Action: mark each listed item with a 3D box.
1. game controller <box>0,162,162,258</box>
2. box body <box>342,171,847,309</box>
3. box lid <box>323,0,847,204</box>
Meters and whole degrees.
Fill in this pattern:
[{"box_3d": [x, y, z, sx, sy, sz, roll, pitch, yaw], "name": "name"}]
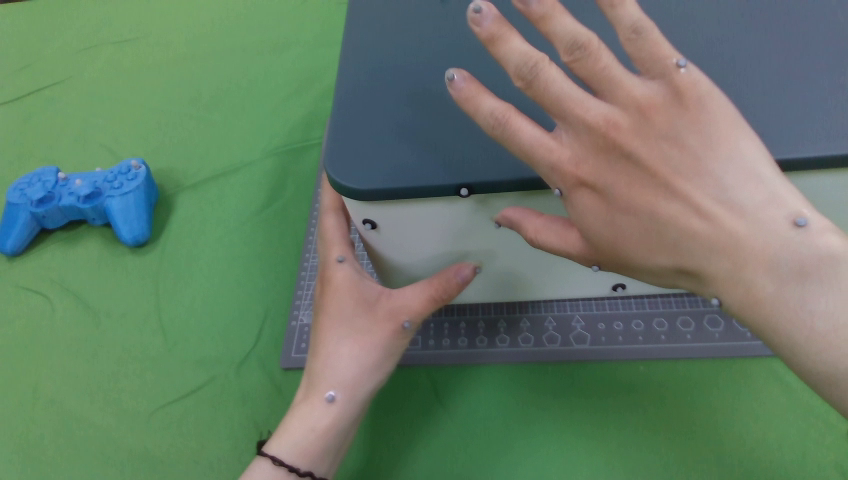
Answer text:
[{"box_3d": [-0.335, -0.035, 0.592, 0.155, 0.052, 0.096, -3, 48, 5], "name": "game controller"}, {"box_3d": [0.129, -0.089, 0.489, 0.364, 0.162, 0.251, -4, 51, 5], "name": "box body"}, {"box_3d": [0.118, -0.135, 0.432, 0.371, 0.015, 0.260, -4, 51, 5], "name": "box lid"}]
